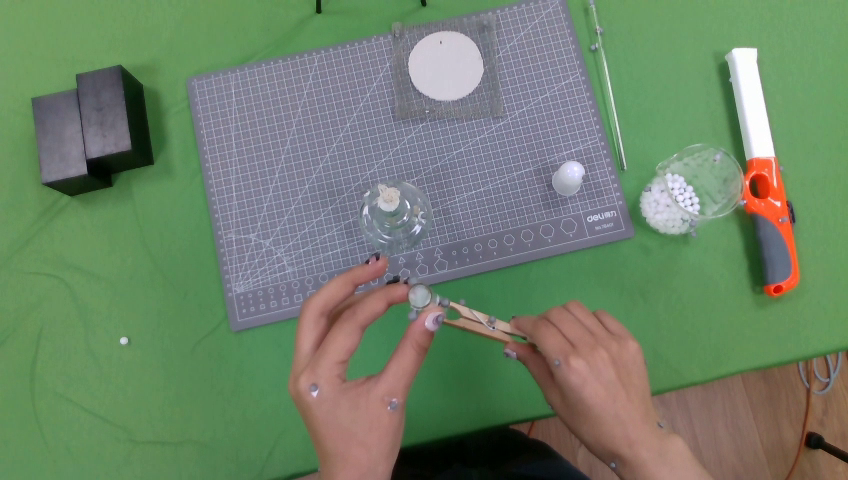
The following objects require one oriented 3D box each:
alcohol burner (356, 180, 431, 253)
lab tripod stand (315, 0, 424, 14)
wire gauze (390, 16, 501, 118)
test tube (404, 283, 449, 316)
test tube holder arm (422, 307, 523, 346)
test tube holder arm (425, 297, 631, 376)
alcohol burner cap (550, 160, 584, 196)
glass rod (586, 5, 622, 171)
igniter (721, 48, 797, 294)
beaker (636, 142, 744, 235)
[{"bbox_3d":[-0.033,-0.029,0.615,0.078,0.119,0.077,-1,79,4],"label":"alcohol burner"},{"bbox_3d":[-0.069,-0.318,0.659,0.148,0.132,0.148,0,82,1],"label":"lab tripod stand"},{"bbox_3d":[0.024,-0.197,0.697,0.125,0.011,0.121,-2,81,0],"label":"wire gauze"},{"bbox_3d":[0.005,0.043,0.420,0.017,0.151,0.017,-1,81,7],"label":"test tube"},{"bbox_3d":[0.041,0.073,0.510,0.088,0.015,0.010,15,80,4],"label":"test tube holder arm"},{"bbox_3d":[0.086,0.080,0.508,0.178,0.015,0.013,17,81,4],"label":"test tube holder arm"},{"bbox_3d":[0.156,-0.070,0.654,0.034,0.048,0.033,0,80,2],"label":"alcohol burner cap"},{"bbox_3d":[0.205,-0.175,0.690,0.008,0.008,0.199,-8,82,0],"label":"glass rod"},{"bbox_3d":[0.365,-0.079,0.660,0.057,0.025,0.275,-3,80,-9],"label":"igniter"},{"bbox_3d":[0.263,-0.049,0.621,0.084,0.100,0.074,18,80,6],"label":"beaker"}]
